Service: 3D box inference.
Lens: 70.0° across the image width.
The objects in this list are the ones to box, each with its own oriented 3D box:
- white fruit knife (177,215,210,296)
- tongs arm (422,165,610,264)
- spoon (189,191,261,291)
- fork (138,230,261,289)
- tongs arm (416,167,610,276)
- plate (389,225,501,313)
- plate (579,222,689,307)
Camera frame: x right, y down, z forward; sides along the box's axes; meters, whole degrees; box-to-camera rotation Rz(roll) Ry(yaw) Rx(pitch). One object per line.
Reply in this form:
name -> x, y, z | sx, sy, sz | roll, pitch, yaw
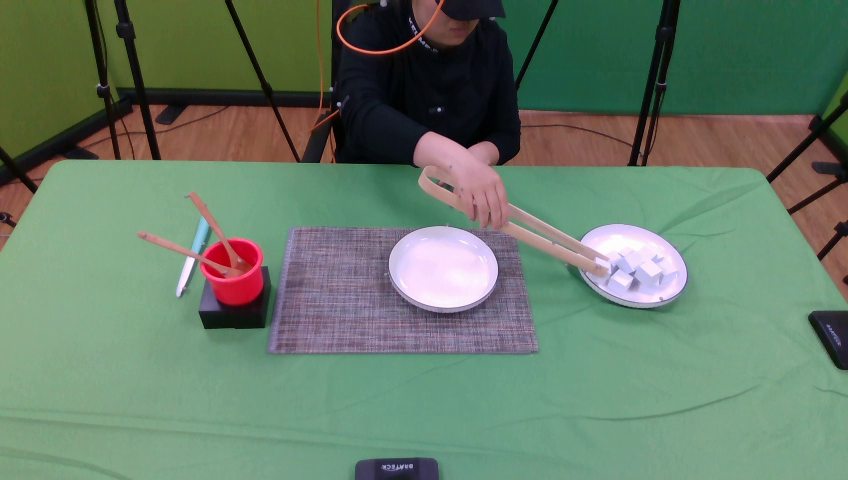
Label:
white fruit knife -> -0.435, 0.025, 1.148 | 0.027, 0.016, 0.206 | -17, 45, 18
tongs arm -> 0.168, -0.046, 1.115 | 0.388, 0.028, 0.028 | 26, 44, -5
spoon -> -0.333, 0.001, 1.011 | 0.041, 0.194, 0.021 | -34, 15, -25
fork -> -0.359, 0.032, 0.981 | 0.208, 0.018, 0.028 | 31, 60, -30
tongs arm -> 0.163, -0.031, 1.097 | 0.385, 0.026, 0.050 | 24, 41, -8
plate -> 0.038, 0.057, 1.129 | 0.208, 0.039, 0.206 | 2, 46, -2
plate -> 0.396, 0.050, 1.165 | 0.209, 0.038, 0.208 | 2, 47, -2
